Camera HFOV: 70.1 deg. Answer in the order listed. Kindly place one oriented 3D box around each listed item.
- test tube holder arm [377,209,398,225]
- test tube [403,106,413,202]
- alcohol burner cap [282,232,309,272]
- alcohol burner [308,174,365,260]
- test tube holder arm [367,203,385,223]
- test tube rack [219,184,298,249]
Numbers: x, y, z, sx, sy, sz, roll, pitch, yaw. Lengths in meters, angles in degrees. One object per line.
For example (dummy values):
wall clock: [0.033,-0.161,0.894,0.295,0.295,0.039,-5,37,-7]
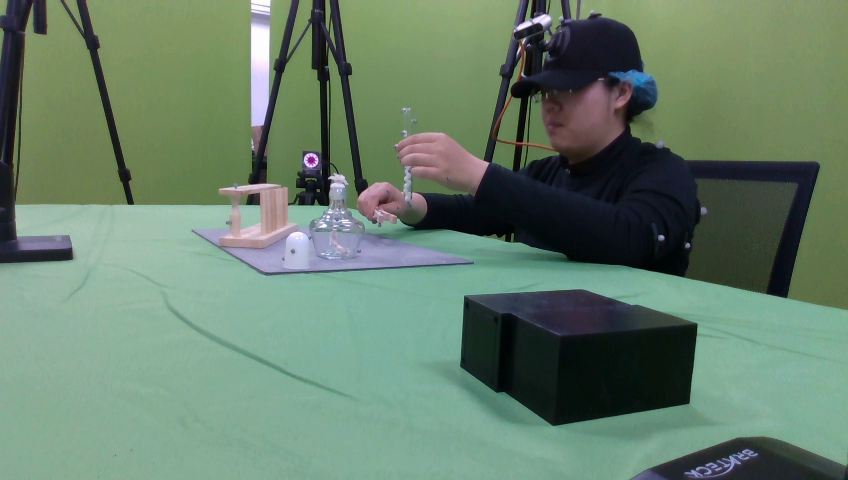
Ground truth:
test tube holder arm: [-0.068,-0.041,1.044,0.010,0.015,0.087,8,9,-29]
test tube: [-0.026,-0.135,0.959,0.017,0.150,0.017,0,14,0]
alcohol burner cap: [-0.157,0.014,0.740,0.034,0.048,0.034,2,6,0]
alcohol burner: [-0.121,-0.033,0.841,0.078,0.119,0.078,3,5,0]
test tube holder arm: [-0.087,-0.050,1.083,0.013,0.015,0.178,11,8,-15]
test tube rack: [-0.266,-0.046,1.001,0.067,0.085,0.242,3,7,0]
